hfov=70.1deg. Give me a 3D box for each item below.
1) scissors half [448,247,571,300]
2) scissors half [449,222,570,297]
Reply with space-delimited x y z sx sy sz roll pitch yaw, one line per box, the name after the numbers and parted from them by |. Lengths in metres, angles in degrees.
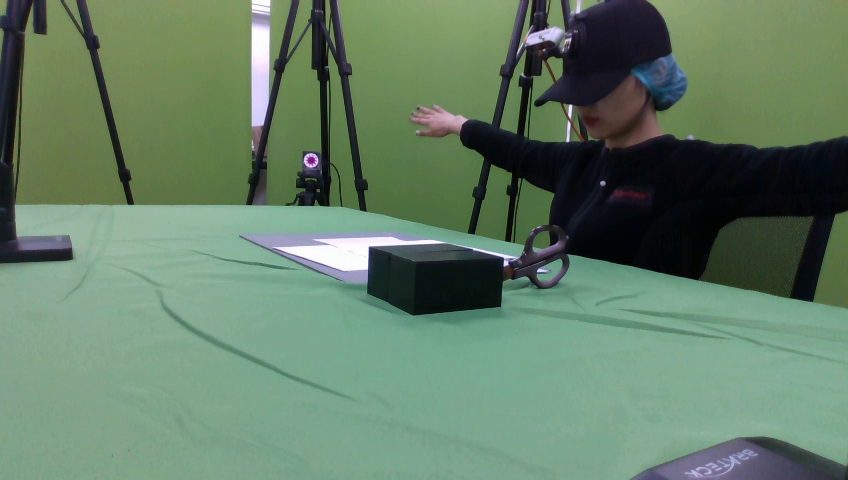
0.099 0.041 0.671 0.176 0.040 0.012 -13 19 -31 | scissors half
0.095 0.022 0.666 0.176 0.040 0.013 -28 20 -27 | scissors half
